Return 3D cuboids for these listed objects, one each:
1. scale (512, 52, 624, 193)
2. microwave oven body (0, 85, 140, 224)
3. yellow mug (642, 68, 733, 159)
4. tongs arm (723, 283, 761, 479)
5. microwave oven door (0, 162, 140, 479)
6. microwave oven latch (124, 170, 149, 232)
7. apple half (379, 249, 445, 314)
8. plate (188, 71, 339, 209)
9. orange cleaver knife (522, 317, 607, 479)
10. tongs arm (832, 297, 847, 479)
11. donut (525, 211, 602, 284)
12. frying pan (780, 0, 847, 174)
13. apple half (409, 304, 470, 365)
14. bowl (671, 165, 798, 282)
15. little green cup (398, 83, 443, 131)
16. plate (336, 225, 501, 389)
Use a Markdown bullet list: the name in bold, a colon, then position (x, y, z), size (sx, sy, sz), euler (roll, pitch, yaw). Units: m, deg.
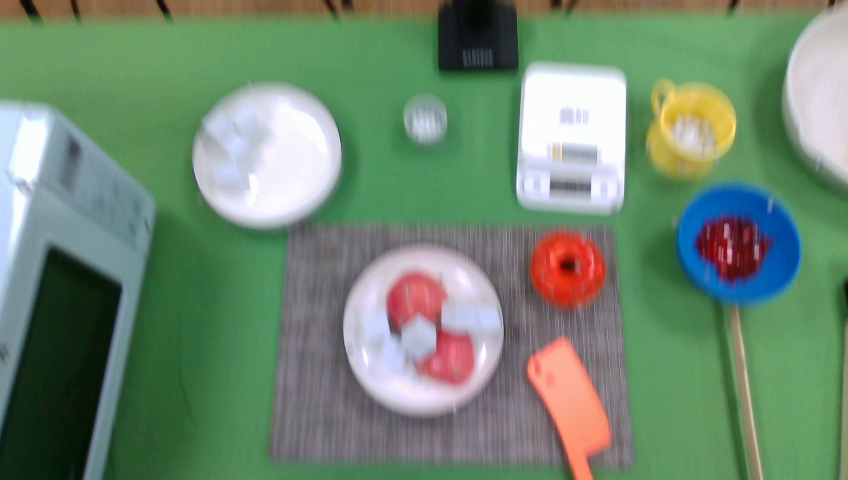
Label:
- **scale**: position (0.203, -0.167, 0.851), size (0.148, 0.032, 0.200), euler (5, 74, 3)
- **microwave oven body**: position (-0.551, 0.080, 0.668), size (0.326, 0.261, 0.439), euler (3, 74, 2)
- **yellow mug**: position (0.351, -0.182, 0.834), size (0.100, 0.064, 0.130), euler (-31, 75, -7)
- **tongs arm**: position (0.407, 0.241, 0.726), size (0.051, 0.026, 0.382), euler (2, 75, -3)
- **microwave oven door**: position (-0.408, 0.126, 0.646), size (0.039, 0.245, 0.353), euler (3, 73, 3)
- **microwave oven latch**: position (-0.389, -0.052, 0.805), size (0.030, 0.029, 0.078), euler (5, 74, 2)
- **apple half**: position (-0.017, 0.048, 0.768), size (0.081, 0.054, 0.074), euler (-43, 75, -12)
- **plate**: position (-0.220, -0.137, 0.846), size (0.208, 0.039, 0.206), euler (0, 73, 1)
- **orange cleaver knife**: position (0.185, 0.200, 0.745), size (0.077, 0.012, 0.210), euler (-15, 72, -9)
- **tongs arm**: position (0.492, 0.250, 0.725), size (0.028, 0.028, 0.386), euler (16, 75, -2)
- **donut**: position (0.181, 0.009, 0.789), size (0.099, 0.048, 0.098), euler (-1, 74, 3)
- **frying pan**: position (0.674, -0.120, 0.791), size (0.307, 0.103, 0.483), euler (-25, 67, -5)
- **apple half**: position (0.019, 0.115, 0.757), size (0.081, 0.033, 0.081), euler (-1, 75, 4)
- **bowl**: position (0.383, -0.013, 0.778), size (0.151, 0.077, 0.150), euler (0, 74, 1)
- **little green cup**: position (-0.004, -0.186, 0.857), size (0.061, 0.039, 0.061), euler (0, 73, 2)
- **plate**: position (-0.007, 0.085, 0.773), size (0.209, 0.038, 0.208), euler (0, 74, 1)
